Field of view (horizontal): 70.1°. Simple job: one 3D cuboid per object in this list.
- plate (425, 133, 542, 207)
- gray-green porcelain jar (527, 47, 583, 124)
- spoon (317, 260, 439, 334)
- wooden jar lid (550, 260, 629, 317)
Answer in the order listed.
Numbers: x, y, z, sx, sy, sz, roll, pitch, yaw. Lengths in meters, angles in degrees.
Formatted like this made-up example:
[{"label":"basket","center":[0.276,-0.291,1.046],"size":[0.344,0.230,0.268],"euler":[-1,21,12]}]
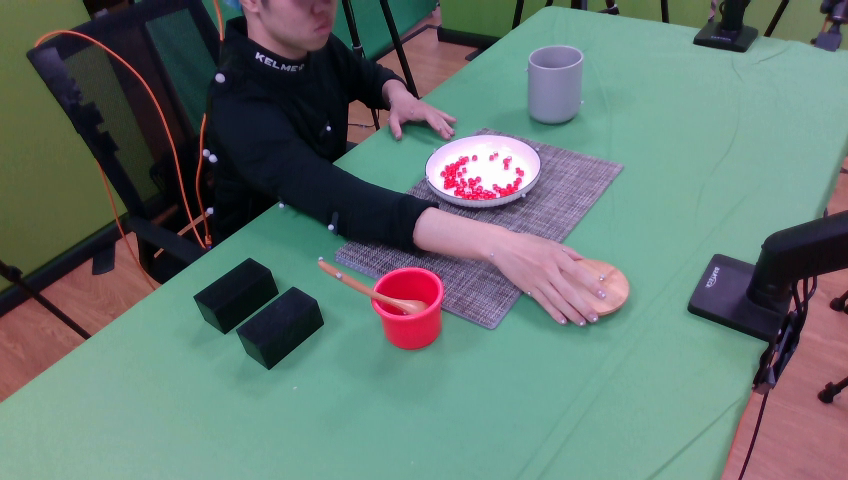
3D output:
[{"label":"plate","center":[0.106,-0.122,1.079],"size":[0.207,0.039,0.206],"euler":[-4,41,4]},{"label":"gray-green porcelain jar","center":[0.260,-0.305,1.207],"size":[0.106,0.127,0.105],"euler":[-4,41,4]},{"label":"spoon","center":[-0.056,0.074,0.789],"size":[0.195,0.021,0.041],"euler":[27,42,-21]},{"label":"wooden jar lid","center":[0.234,0.070,0.857],"size":[0.108,0.021,0.108],"euler":[-5,39,4]}]
